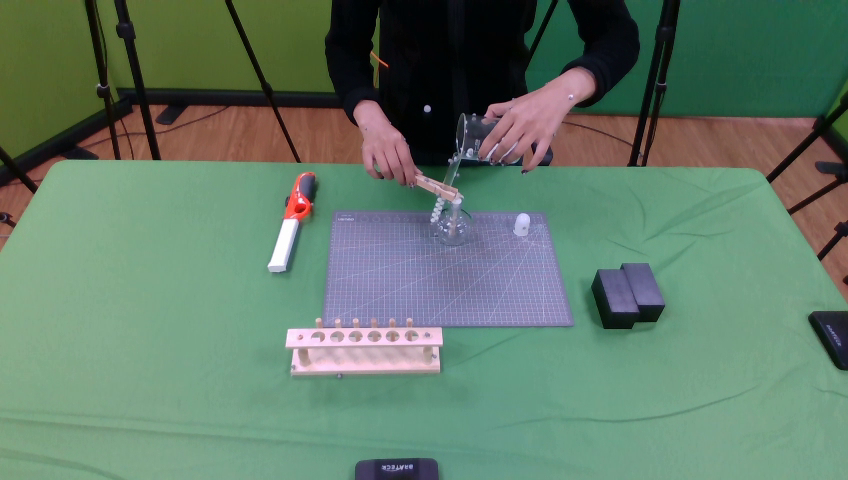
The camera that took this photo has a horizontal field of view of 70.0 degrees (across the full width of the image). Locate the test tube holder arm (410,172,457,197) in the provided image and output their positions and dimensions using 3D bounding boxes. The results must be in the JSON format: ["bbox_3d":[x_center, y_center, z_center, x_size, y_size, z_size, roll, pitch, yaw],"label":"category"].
[{"bbox_3d":[0.015,-0.096,1.050,0.088,0.015,0.010,21,35,3],"label":"test tube holder arm"}]

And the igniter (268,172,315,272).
[{"bbox_3d":[-0.263,-0.045,1.219,0.057,0.025,0.275,-2,45,8],"label":"igniter"}]

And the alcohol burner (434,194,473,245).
[{"bbox_3d":[0.059,-0.046,1.179,0.078,0.120,0.077,1,48,-1],"label":"alcohol burner"}]

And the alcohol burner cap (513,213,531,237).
[{"bbox_3d":[0.200,-0.034,1.227,0.034,0.048,0.033,1,45,-1],"label":"alcohol burner cap"}]

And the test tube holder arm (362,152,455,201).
[{"bbox_3d":[-0.028,-0.112,1.052,0.178,0.015,0.013,25,35,9],"label":"test tube holder arm"}]

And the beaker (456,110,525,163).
[{"bbox_3d":[0.105,-0.161,0.971,0.100,0.084,0.073,5,55,-7],"label":"beaker"}]

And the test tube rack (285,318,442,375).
[{"bbox_3d":[-0.095,0.168,0.986,0.242,0.085,0.066,0,46,-4],"label":"test tube rack"}]

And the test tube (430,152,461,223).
[{"bbox_3d":[0.036,-0.087,1.042,0.017,0.151,0.017,12,40,-10],"label":"test tube"}]
